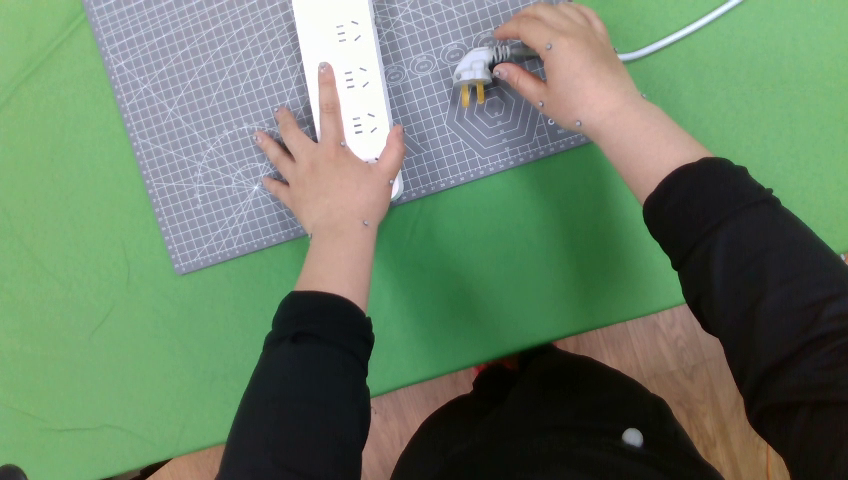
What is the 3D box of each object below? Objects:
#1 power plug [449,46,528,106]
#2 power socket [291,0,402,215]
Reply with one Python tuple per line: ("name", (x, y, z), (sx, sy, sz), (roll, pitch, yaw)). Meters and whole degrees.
("power plug", (0.059, -0.152, 0.558), (0.072, 0.035, 0.053), (-3, 95, 15))
("power socket", (-0.073, -0.136, 0.577), (0.072, 0.032, 0.227), (-9, 94, 5))
